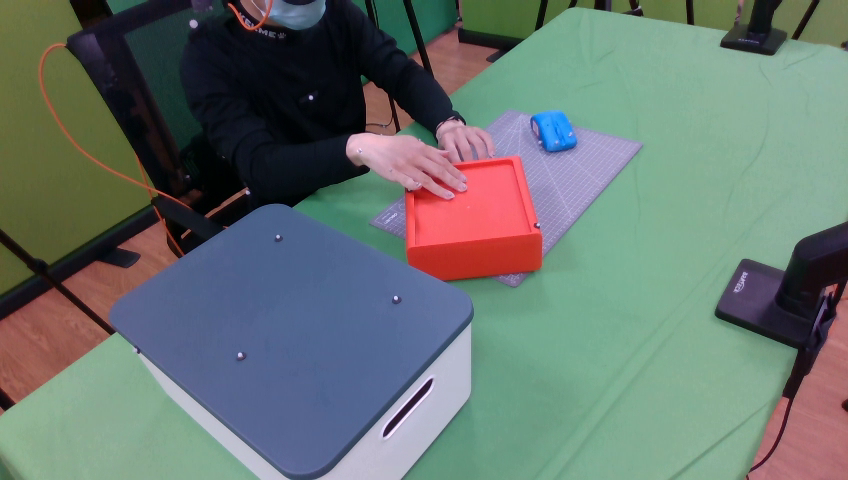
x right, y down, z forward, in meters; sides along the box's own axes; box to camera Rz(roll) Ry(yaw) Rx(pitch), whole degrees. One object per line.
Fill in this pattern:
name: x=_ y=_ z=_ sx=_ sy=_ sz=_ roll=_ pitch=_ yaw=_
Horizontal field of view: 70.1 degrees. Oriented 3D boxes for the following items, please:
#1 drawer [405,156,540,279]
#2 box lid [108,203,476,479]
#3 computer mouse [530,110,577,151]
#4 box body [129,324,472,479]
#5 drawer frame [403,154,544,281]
drawer: x=0.071 y=-0.040 z=0.961 sx=0.194 sy=0.073 sz=0.210 roll=-5 pitch=41 yaw=1
box lid: x=-0.156 y=0.079 z=0.678 sx=0.368 sy=0.015 sz=0.264 roll=24 pitch=49 yaw=32
computer mouse: x=0.250 y=-0.216 z=1.173 sx=0.063 sy=0.041 sz=0.116 roll=-10 pitch=45 yaw=-6
box body: x=-0.147 y=0.136 z=0.726 sx=0.361 sy=0.161 sz=0.255 roll=25 pitch=50 yaw=32
drawer frame: x=0.072 y=-0.040 z=0.958 sx=0.202 sy=0.083 sz=0.212 roll=-6 pitch=41 yaw=1
